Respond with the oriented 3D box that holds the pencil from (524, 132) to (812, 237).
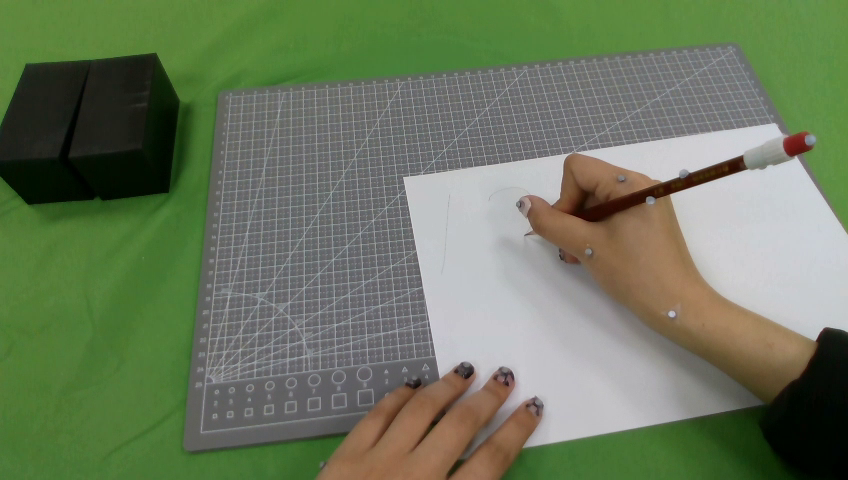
[{"bbox_3d":[0.120,-0.023,0.346,0.012,0.193,0.012,8,73,-30],"label":"pencil"}]
